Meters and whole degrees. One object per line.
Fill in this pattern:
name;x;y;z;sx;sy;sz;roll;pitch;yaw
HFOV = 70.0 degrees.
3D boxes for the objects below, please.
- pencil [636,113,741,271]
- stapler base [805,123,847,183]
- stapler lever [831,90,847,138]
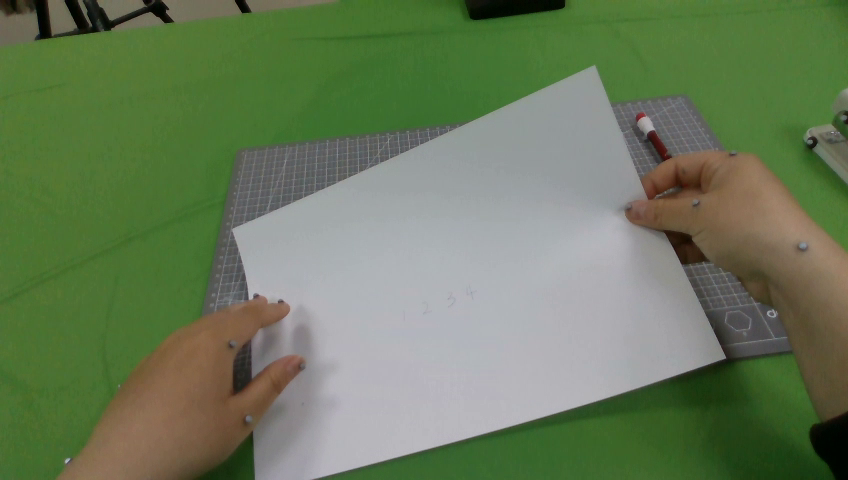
pencil;0.219;-0.047;0.509;0.012;0.012;0.192;-10;48;-3
stapler base;0.370;-0.061;0.500;0.041;0.025;0.129;-12;48;-2
stapler lever;0.369;-0.077;0.480;0.027;0.040;0.116;-12;48;-1
